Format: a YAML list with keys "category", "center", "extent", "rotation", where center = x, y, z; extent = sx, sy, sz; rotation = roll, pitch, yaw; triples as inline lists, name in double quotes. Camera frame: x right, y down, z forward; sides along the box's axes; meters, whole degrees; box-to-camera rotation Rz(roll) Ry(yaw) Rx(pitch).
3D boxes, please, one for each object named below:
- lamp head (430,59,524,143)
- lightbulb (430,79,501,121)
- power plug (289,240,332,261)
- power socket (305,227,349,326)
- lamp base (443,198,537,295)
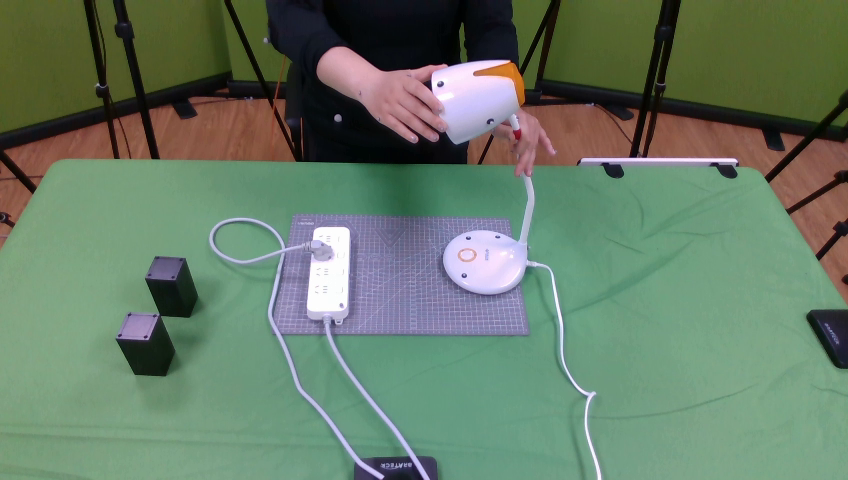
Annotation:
- category: "lamp head"
  center: [0.084, -0.207, 0.877]
  extent: [0.123, 0.113, 0.111]
  rotation: [-12, 44, 14]
- category: "lightbulb"
  center: [0.060, -0.209, 0.883]
  extent: [0.107, 0.060, 0.059]
  rotation: [-9, 40, 25]
- category: "power plug"
  center: [-0.207, 0.022, 1.123]
  extent: [0.072, 0.053, 0.035]
  rotation: [5, 44, 6]
- category: "power socket"
  center: [-0.177, 0.058, 1.115]
  extent: [0.072, 0.033, 0.225]
  rotation: [-1, 46, -4]
- category: "lamp base"
  center: [0.132, -0.013, 1.106]
  extent: [0.179, 0.181, 0.159]
  rotation: [1, 46, -8]
